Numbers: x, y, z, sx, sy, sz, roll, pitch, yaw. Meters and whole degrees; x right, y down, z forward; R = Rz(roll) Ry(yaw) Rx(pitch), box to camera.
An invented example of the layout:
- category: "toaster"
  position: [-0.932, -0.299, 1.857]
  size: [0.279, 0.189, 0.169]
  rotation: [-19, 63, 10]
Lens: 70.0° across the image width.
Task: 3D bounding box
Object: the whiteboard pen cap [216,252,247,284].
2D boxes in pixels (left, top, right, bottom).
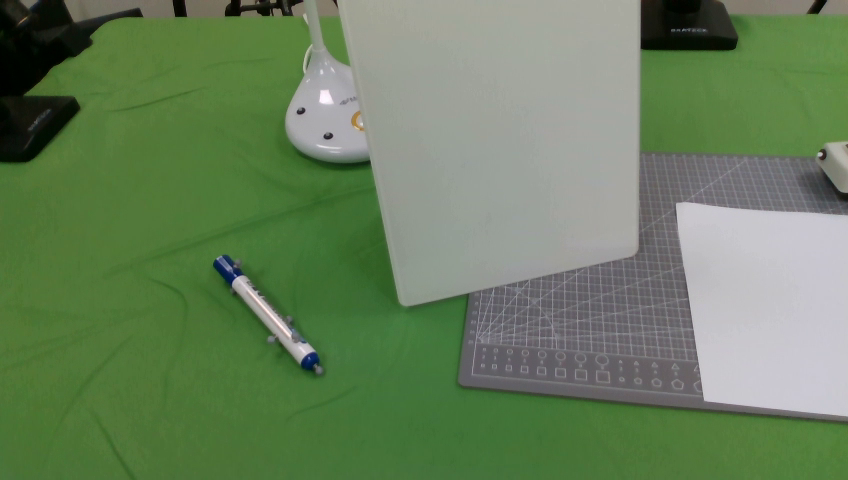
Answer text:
- category: "whiteboard pen cap"
  position: [-0.171, 0.027, 0.543]
  size: [0.018, 0.018, 0.033]
  rotation: [-34, 58, -25]

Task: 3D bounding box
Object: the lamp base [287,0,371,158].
- category: "lamp base"
  position: [-0.093, -0.207, 0.655]
  size: [0.160, 0.182, 0.177]
  rotation: [-33, 49, -24]

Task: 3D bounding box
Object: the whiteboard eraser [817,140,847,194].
- category: "whiteboard eraser"
  position: [0.435, -0.068, 0.561]
  size: [0.112, 0.042, 0.055]
  rotation: [-3, 47, 3]

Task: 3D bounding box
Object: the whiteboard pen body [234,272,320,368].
- category: "whiteboard pen body"
  position: [-0.132, 0.059, 0.513]
  size: [0.017, 0.017, 0.139]
  rotation: [-34, 55, -25]

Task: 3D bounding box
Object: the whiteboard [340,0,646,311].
- category: "whiteboard"
  position: [0.053, -0.126, 0.515]
  size: [0.217, 0.308, 0.142]
  rotation: [-12, 27, -5]
